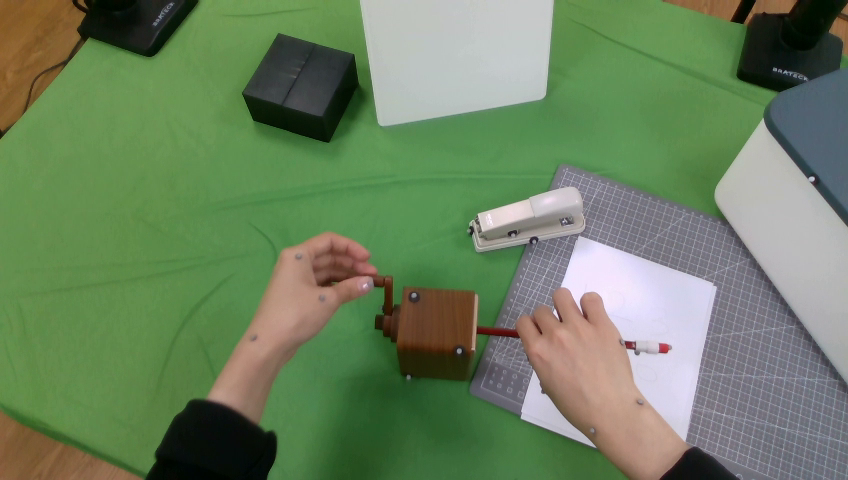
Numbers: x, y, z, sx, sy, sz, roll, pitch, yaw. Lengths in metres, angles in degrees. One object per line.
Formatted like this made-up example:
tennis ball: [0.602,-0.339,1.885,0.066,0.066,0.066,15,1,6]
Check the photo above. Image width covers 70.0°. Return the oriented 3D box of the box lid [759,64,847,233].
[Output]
box lid: [0.498,-0.026,0.529,0.263,0.015,0.368,-22,67,-12]

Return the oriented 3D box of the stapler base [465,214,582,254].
stapler base: [0.113,-0.018,0.679,0.130,0.024,0.041,-12,60,-3]

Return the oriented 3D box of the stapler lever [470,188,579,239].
stapler lever: [0.110,-0.029,0.657,0.118,0.040,0.026,-11,60,-3]

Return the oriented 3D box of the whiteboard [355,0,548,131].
whiteboard: [0.021,-0.310,0.699,0.217,0.308,0.142,-10,45,-5]

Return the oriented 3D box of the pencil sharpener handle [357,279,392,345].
pencil sharpener handle: [-0.045,0.063,0.547,0.030,0.068,0.035,4,31,2]

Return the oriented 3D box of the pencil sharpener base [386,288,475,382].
pencil sharpener base: [0.006,0.093,0.579,0.077,0.108,0.061,4,64,2]

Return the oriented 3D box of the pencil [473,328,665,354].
pencil: [0.118,0.090,0.547,0.194,0.012,0.012,5,63,4]

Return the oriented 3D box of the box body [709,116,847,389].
box body: [0.498,0.009,0.594,0.254,0.161,0.361,-22,66,-12]
